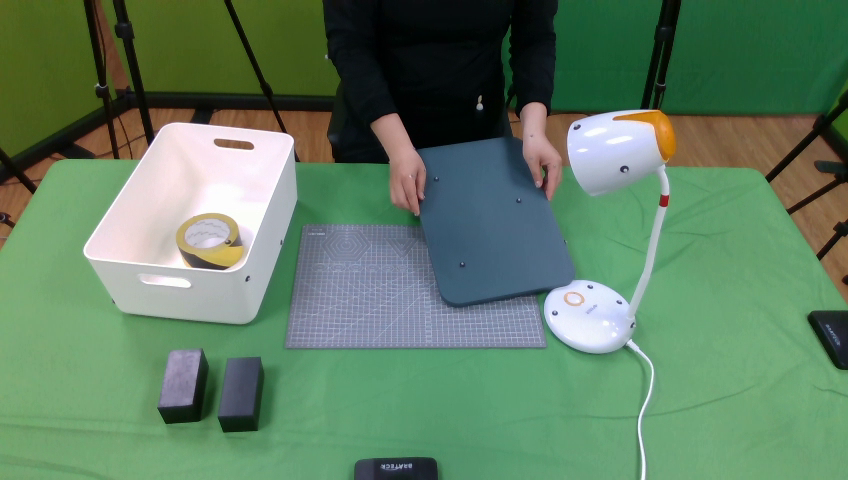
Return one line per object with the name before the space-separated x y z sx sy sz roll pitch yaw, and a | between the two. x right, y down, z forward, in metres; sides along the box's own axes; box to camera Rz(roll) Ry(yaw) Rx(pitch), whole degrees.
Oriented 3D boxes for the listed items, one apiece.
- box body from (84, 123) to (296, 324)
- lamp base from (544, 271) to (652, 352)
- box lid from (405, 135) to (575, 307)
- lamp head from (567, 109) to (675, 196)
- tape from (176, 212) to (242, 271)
box body | -0.392 -0.035 1.104 0.254 0.161 0.362 5 46 1
lamp base | 0.310 0.086 1.029 0.178 0.181 0.160 32 52 21
box lid | 0.121 -0.050 1.189 0.263 0.015 0.369 -10 60 -8
lamp head | 0.272 -0.123 0.818 0.122 0.113 0.112 -9 35 37
tape | -0.401 0.005 1.133 0.117 0.053 0.116 2 46 -2
